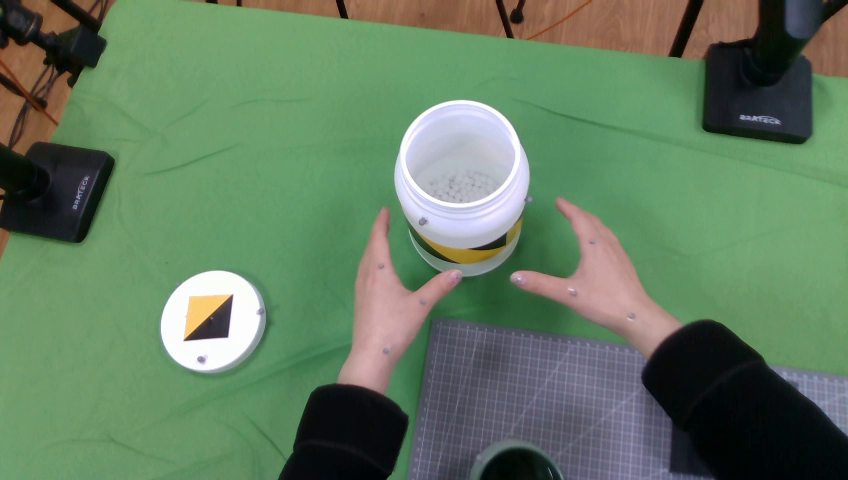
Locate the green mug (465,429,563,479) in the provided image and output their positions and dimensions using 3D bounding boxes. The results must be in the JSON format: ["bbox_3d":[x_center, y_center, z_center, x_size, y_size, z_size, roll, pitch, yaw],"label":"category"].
[{"bbox_3d":[0.067,0.229,0.565,0.125,0.105,0.092,-16,72,-1],"label":"green mug"}]

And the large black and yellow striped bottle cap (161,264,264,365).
[{"bbox_3d":[-0.239,0.083,0.685,0.115,0.019,0.114,-1,71,4],"label":"large black and yellow striped bottle cap"}]

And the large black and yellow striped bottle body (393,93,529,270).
[{"bbox_3d":[0.039,-0.054,0.620,0.131,0.185,0.130,-1,71,4],"label":"large black and yellow striped bottle body"}]
